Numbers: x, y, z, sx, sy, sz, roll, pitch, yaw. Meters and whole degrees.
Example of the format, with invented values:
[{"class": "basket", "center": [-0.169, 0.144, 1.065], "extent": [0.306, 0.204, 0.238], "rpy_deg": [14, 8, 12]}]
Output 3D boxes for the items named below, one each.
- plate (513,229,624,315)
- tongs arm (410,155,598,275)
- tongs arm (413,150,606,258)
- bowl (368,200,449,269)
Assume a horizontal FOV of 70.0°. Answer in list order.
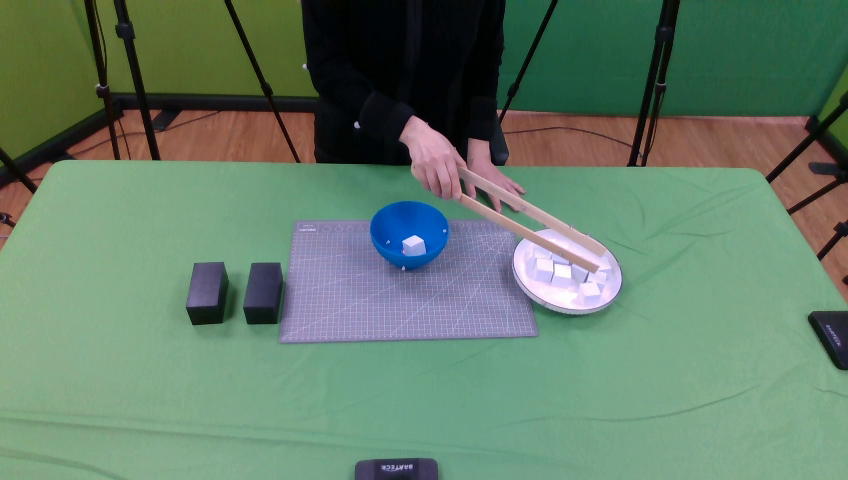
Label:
[{"class": "plate", "center": [0.268, 0.063, 1.146], "extent": [0.208, 0.039, 0.206], "rpy_deg": [3, 46, -3]}, {"class": "tongs arm", "center": [0.133, -0.044, 1.079], "extent": [0.387, 0.028, 0.028], "rpy_deg": [31, 57, 10]}, {"class": "tongs arm", "center": [0.148, -0.063, 1.098], "extent": [0.384, 0.026, 0.050], "rpy_deg": [32, 54, 11]}, {"class": "bowl", "center": [-0.030, 0.002, 1.151], "extent": [0.151, 0.077, 0.150], "rpy_deg": [2, 46, -2]}]
